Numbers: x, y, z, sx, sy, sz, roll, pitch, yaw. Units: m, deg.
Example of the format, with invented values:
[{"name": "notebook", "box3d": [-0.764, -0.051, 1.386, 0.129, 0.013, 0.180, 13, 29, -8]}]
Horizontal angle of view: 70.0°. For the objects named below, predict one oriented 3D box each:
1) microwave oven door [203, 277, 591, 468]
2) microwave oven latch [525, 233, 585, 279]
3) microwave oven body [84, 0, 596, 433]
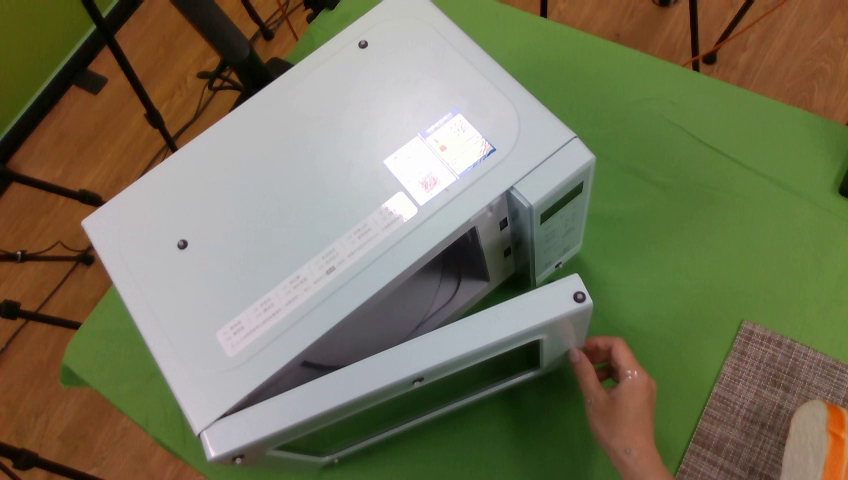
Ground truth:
[{"name": "microwave oven door", "box3d": [-0.005, 0.149, 0.622, 0.356, 0.246, 0.039, -22, 65, 2]}, {"name": "microwave oven latch", "box3d": [0.163, 0.013, 0.755, 0.079, 0.030, 0.030, -37, 67, -4]}, {"name": "microwave oven body", "box3d": [-0.082, -0.017, 0.708, 0.441, 0.262, 0.323, -38, 67, -5]}]
